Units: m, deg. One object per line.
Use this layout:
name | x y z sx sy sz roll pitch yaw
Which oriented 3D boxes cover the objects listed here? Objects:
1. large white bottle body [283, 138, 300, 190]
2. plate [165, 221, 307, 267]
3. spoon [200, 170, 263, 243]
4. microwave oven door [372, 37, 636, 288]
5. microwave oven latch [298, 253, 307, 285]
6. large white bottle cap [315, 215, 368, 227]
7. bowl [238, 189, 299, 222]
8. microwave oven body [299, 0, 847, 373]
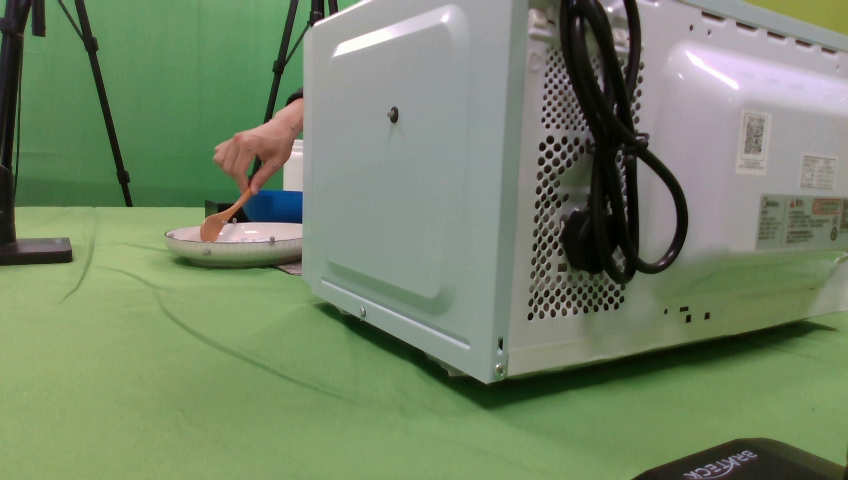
large white bottle body | -0.265 -0.143 1.424 0.131 0.184 0.130 2 7 0
plate | -0.241 0.004 0.829 0.209 0.038 0.209 0 9 0
spoon | -0.282 -0.053 0.905 0.021 0.041 0.194 4 36 17
microwave oven door | 0.110 -0.080 0.686 0.358 0.243 0.039 -2 9 -33
microwave oven latch | -0.081 0.027 0.582 0.079 0.029 0.030 -1 7 -32
large white bottle cap | -0.178 -0.041 1.309 0.115 0.018 0.115 2 6 0
bowl | -0.245 -0.046 1.053 0.151 0.077 0.151 3 7 0
microwave oven body | 0.151 -0.055 0.542 0.444 0.260 0.324 -2 7 -33
